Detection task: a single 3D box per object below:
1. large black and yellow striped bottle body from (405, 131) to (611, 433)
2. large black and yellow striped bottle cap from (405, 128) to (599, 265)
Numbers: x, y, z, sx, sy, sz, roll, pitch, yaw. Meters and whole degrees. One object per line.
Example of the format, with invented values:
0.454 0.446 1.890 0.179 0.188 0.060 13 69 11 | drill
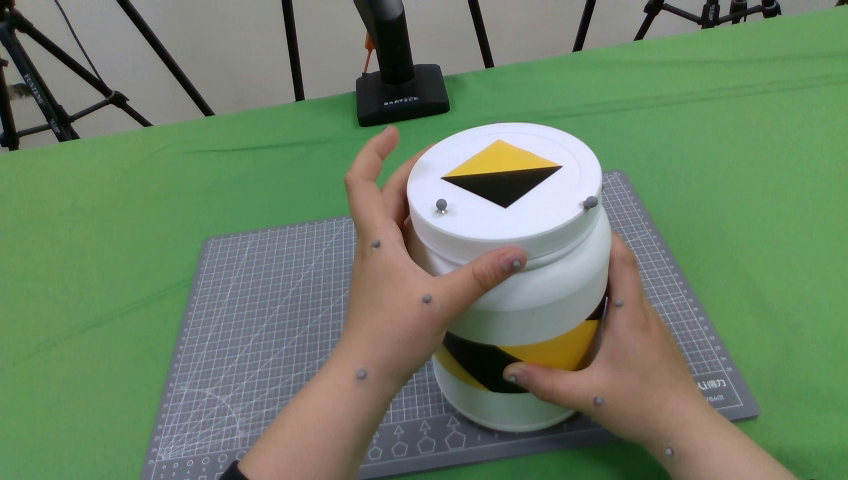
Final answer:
0.058 0.031 0.417 0.130 0.186 0.129 -6 42 6 | large black and yellow striped bottle body
0.045 -0.030 0.361 0.115 0.019 0.114 -5 41 5 | large black and yellow striped bottle cap
